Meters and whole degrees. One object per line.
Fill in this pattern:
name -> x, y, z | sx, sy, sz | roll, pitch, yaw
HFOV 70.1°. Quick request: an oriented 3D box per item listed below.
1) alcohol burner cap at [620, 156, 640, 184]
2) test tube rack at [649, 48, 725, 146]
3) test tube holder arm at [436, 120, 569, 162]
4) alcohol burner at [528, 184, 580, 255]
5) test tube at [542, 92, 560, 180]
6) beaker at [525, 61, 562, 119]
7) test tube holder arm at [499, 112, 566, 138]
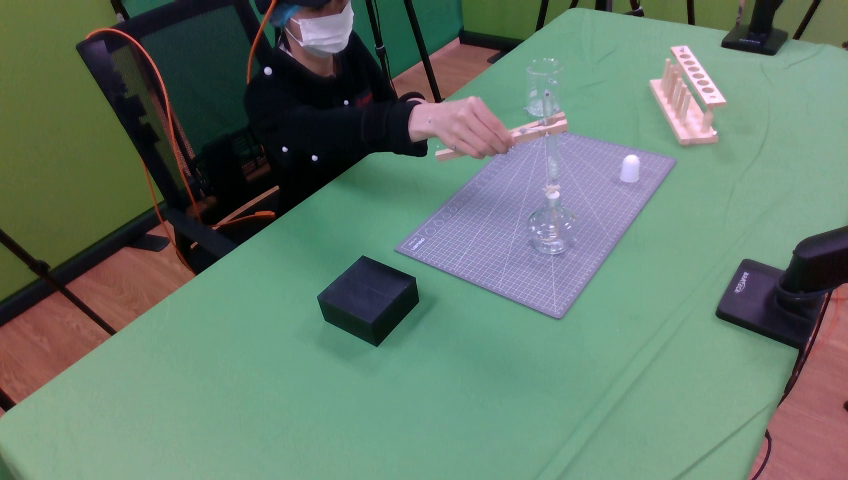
alcohol burner cap -> 0.358, -0.124, 1.047 | 0.034, 0.048, 0.033 | -4, 40, 4
test tube rack -> 0.508, -0.285, 1.186 | 0.067, 0.085, 0.241 | -4, 40, 6
test tube holder arm -> 0.101, -0.131, 0.800 | 0.178, 0.015, 0.013 | -13, 48, 14
alcohol burner -> 0.196, -0.036, 0.911 | 0.078, 0.119, 0.077 | -6, 41, 5
test tube -> 0.170, -0.134, 0.805 | 0.017, 0.151, 0.017 | -8, 51, 10
beaker -> 0.248, -0.309, 1.245 | 0.084, 0.101, 0.073 | -36, 47, -30
test tube holder arm -> 0.143, -0.146, 0.794 | 0.088, 0.015, 0.010 | -19, 47, 9
